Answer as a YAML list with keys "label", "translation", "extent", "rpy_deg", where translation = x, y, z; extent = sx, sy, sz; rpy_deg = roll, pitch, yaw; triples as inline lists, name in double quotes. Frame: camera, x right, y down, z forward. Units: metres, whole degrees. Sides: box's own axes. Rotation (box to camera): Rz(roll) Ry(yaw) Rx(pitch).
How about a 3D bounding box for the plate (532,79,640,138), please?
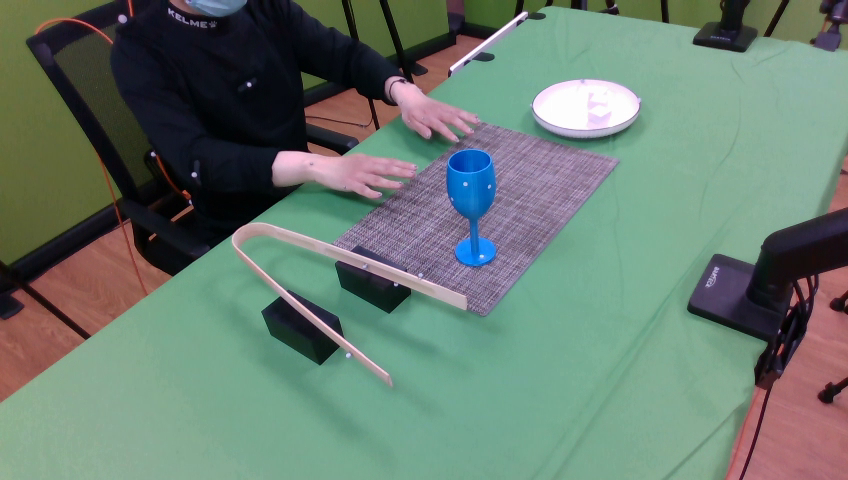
- label: "plate"
  translation: [0.322, -0.259, 1.212]
  extent: [0.209, 0.038, 0.208]
  rpy_deg: [-4, 40, 4]

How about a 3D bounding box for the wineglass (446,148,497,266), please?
- label: "wineglass"
  translation: [0.072, -0.046, 0.889]
  extent: [0.074, 0.173, 0.073]
  rpy_deg: [-4, 41, 4]

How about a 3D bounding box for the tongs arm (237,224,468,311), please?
- label: "tongs arm"
  translation: [-0.115, 0.039, 0.862]
  extent: [0.382, 0.026, 0.051]
  rpy_deg: [20, 49, 28]

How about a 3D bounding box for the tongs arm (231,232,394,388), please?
- label: "tongs arm"
  translation: [-0.166, 0.084, 0.817]
  extent: [0.028, 0.028, 0.384]
  rpy_deg: [-39, 49, -24]
